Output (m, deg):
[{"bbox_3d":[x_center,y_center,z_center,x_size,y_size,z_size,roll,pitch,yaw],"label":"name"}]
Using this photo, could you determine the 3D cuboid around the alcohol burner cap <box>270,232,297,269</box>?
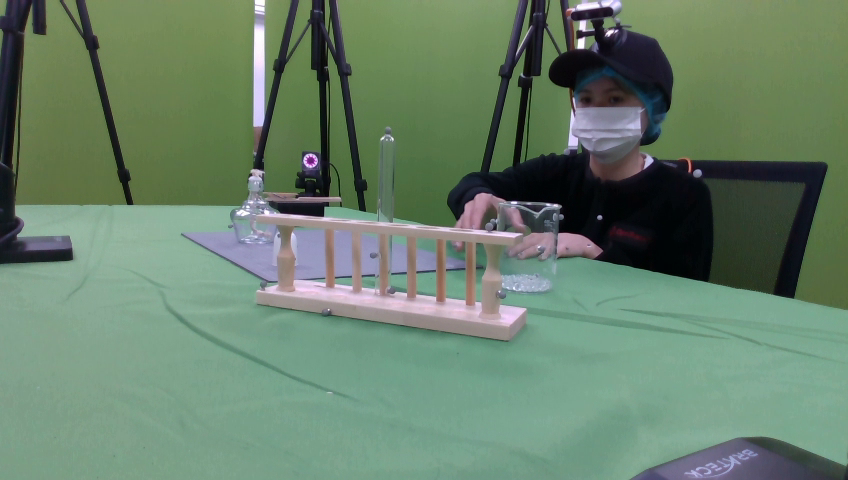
[{"bbox_3d":[-0.175,0.012,0.760,0.034,0.048,0.034,2,8,0],"label":"alcohol burner cap"}]

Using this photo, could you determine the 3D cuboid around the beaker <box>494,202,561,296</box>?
[{"bbox_3d":[0.116,0.009,0.687,0.074,0.100,0.084,1,8,-4],"label":"beaker"}]

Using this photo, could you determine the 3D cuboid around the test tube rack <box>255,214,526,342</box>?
[{"bbox_3d":[-0.032,0.027,0.546,0.241,0.085,0.067,5,7,21],"label":"test tube rack"}]

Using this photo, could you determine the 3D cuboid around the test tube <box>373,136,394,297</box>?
[{"bbox_3d":[-0.038,-0.021,0.564,0.017,0.150,0.017,2,6,0],"label":"test tube"}]

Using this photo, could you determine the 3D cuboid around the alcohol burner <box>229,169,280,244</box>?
[{"bbox_3d":[-0.268,-0.053,0.958,0.078,0.119,0.078,2,6,0],"label":"alcohol burner"}]

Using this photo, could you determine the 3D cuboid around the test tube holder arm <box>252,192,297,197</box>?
[{"bbox_3d":[-0.301,-0.092,1.223,0.088,0.010,0.015,0,7,-25],"label":"test tube holder arm"}]

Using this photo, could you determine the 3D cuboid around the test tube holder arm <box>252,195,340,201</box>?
[{"bbox_3d":[-0.260,-0.087,1.242,0.179,0.013,0.015,-1,7,-25],"label":"test tube holder arm"}]
